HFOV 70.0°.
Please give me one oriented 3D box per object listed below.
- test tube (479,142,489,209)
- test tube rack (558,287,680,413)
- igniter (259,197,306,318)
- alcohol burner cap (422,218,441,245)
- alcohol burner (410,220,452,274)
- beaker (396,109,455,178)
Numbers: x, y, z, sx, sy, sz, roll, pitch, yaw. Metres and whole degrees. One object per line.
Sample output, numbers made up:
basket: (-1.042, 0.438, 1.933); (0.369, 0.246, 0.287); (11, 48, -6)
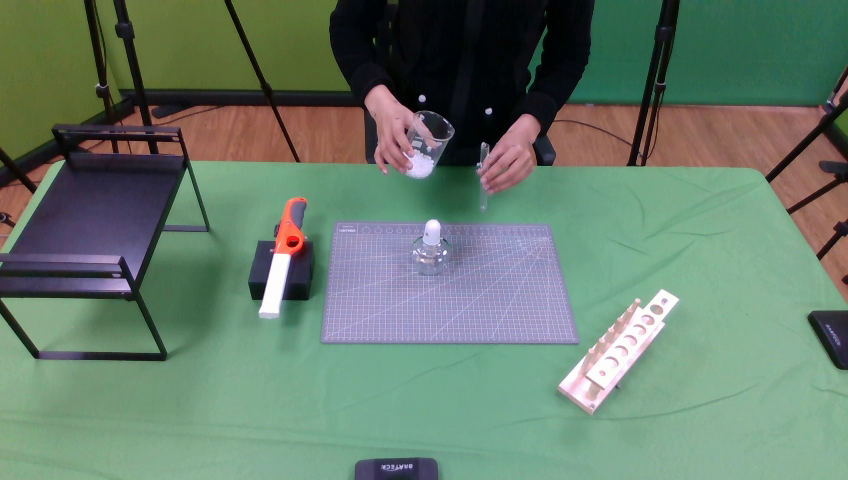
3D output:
test tube: (0.110, -0.116, 1.115); (0.017, 0.151, 0.017); (-2, 45, 2)
test tube rack: (0.327, 0.170, 1.009); (0.066, 0.085, 0.242); (36, 54, 26)
igniter: (-0.252, 0.021, 1.088); (0.057, 0.025, 0.275); (4, 48, -2)
alcohol burner cap: (0.015, -0.018, 1.094); (0.034, 0.048, 0.033); (3, 43, -3)
alcohol burner: (0.013, 0.007, 1.120); (0.078, 0.120, 0.077); (1, 48, -1)
beaker: (0.000, -0.163, 1.046); (0.084, 0.100, 0.073); (-1, 52, -28)
